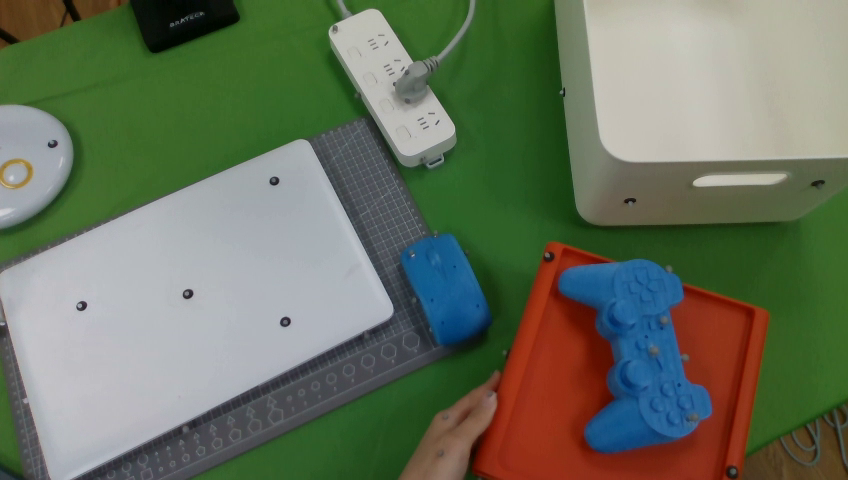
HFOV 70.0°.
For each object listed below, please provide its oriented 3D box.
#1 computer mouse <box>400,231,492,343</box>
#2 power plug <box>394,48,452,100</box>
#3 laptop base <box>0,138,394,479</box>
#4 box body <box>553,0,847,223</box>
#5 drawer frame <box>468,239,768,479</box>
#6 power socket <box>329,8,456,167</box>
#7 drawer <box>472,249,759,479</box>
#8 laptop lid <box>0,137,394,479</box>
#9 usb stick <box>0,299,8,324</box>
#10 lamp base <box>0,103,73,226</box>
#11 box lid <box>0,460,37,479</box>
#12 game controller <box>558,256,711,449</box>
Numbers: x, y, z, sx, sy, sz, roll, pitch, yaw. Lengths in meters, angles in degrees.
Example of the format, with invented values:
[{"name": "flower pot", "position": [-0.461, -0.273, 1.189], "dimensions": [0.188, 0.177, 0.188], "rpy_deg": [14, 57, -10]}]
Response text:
[{"name": "computer mouse", "position": [0.021, 0.043, 0.610], "dimensions": [0.063, 0.041, 0.116], "rpy_deg": [-21, 65, -5]}, {"name": "power plug", "position": [0.001, -0.178, 0.680], "dimensions": [0.072, 0.053, 0.035], "rpy_deg": [-16, 67, -5]}, {"name": "laptop base", "position": [-0.235, 0.056, 0.627], "dimensions": [0.354, 0.023, 0.234], "rpy_deg": [-26, 73, -8]}, {"name": "box body", "position": [0.276, -0.204, 0.634], "dimensions": [0.254, 0.161, 0.361], "rpy_deg": [-2, 68, 2]}, {"name": "drawer frame", "position": [0.166, 0.133, 0.527], "dimensions": [0.201, 0.083, 0.212], "rpy_deg": [18, 69, 10]}, {"name": "power socket", "position": [-0.039, -0.182, 0.708], "dimensions": [0.072, 0.033, 0.225], "rpy_deg": [-26, 69, -10]}, {"name": "drawer", "position": [0.165, 0.136, 0.527], "dimensions": [0.194, 0.074, 0.210], "rpy_deg": [17, 69, 11]}, {"name": "laptop lid", "position": [-0.235, 0.054, 0.615], "dimensions": [0.357, 0.013, 0.240], "rpy_deg": [-25, 72, -7]}, {"name": "usb stick", "position": [-0.442, 0.074, 0.614], "dimensions": [0.059, 0.027, 0.021], "rpy_deg": [-23, 64, -9]}, {"name": "lamp base", "position": [-0.497, -0.121, 0.622], "dimensions": [0.178, 0.181, 0.160], "rpy_deg": [22, 70, 14]}, {"name": "box lid", "position": [-0.387, 0.348, 0.519], "dimensions": [0.370, 0.015, 0.262], "rpy_deg": [22, 71, 10]}, {"name": "game controller", "position": [0.170, 0.085, 0.491], "dimensions": [0.097, 0.052, 0.154], "rpy_deg": [-3, 69, -4]}]
